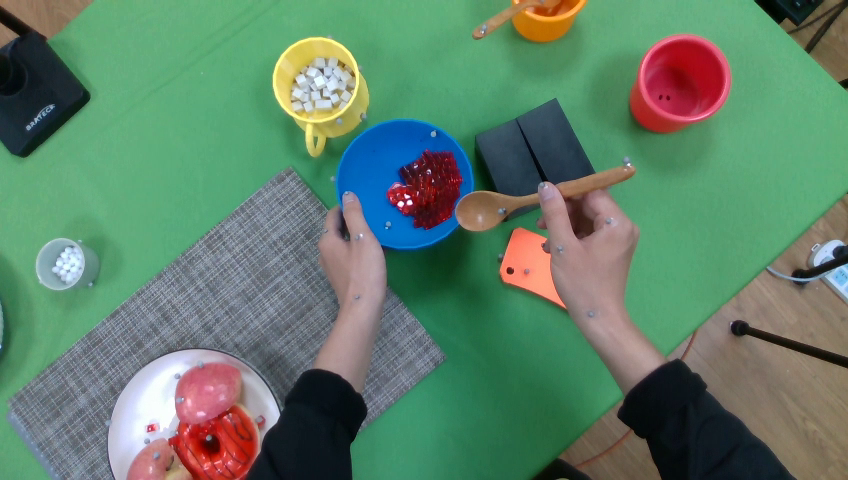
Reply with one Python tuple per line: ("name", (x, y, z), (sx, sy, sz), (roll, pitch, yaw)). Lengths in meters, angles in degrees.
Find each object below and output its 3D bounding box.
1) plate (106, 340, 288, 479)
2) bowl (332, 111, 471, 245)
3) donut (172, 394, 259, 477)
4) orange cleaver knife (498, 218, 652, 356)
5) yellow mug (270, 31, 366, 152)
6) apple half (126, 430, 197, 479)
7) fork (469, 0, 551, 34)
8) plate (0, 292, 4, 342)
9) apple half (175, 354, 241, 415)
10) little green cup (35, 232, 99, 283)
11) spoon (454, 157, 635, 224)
("plate", (-0.258, 0.218, 0.701), (0.209, 0.038, 0.208), (0, 86, 4))
("bowl", (-0.025, -0.060, 0.685), (0.151, 0.077, 0.150), (1, 77, -3))
("donut", (-0.237, 0.220, 0.689), (0.099, 0.048, 0.099), (0, 90, 3))
("orange cleaver knife", (0.179, 0.053, 0.699), (0.211, 0.012, 0.077), (34, 85, 6))
("yellow mug", (-0.124, -0.169, 0.711), (0.100, 0.064, 0.130), (7, 87, 4))
("apple half", (-0.298, 0.260, 0.670), (0.080, 0.053, 0.075), (54, 131, 7))
("fork", (0.104, -0.258, 0.661), (0.028, 0.019, 0.207), (43, 46, 6))
("plate", (-0.605, 0.099, 0.736), (0.207, 0.039, 0.207), (0, 86, 4))
("apple half", (-0.246, 0.153, 0.679), (0.081, 0.033, 0.080), (-8, 45, 9))
("little green cup", (-0.427, 0.022, 0.730), (0.061, 0.039, 0.061), (0, 85, 4))
("spoon", (0.100, -0.044, 0.545), (0.021, 0.193, 0.042), (-33, 104, -39))
